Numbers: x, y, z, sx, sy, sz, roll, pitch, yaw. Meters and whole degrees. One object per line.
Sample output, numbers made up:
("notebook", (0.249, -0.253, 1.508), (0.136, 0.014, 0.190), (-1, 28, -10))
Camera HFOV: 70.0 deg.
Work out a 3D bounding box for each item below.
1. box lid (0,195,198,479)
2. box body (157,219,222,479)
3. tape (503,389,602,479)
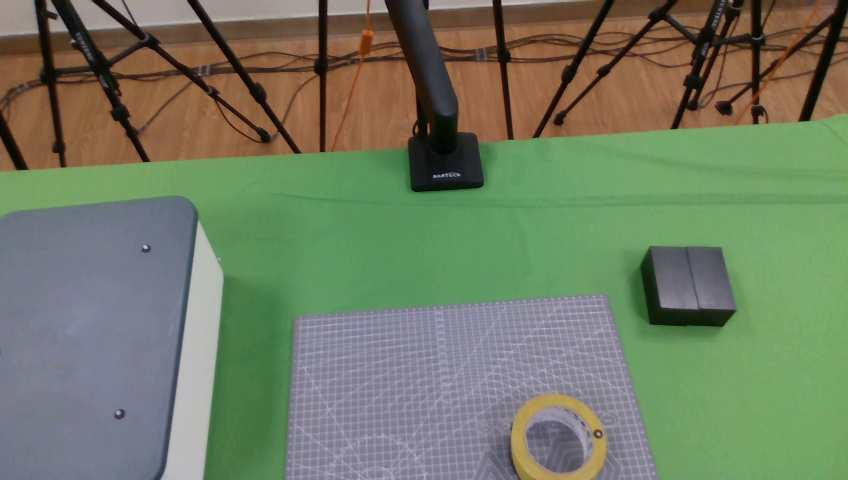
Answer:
("box lid", (-0.402, 0.103, 0.680), (0.263, 0.015, 0.367), (-5, 57, -3))
("box body", (-0.401, 0.146, 0.740), (0.254, 0.162, 0.360), (-5, 56, -3))
("tape", (0.155, 0.242, 0.731), (0.117, 0.053, 0.116), (-1, 56, 1))
